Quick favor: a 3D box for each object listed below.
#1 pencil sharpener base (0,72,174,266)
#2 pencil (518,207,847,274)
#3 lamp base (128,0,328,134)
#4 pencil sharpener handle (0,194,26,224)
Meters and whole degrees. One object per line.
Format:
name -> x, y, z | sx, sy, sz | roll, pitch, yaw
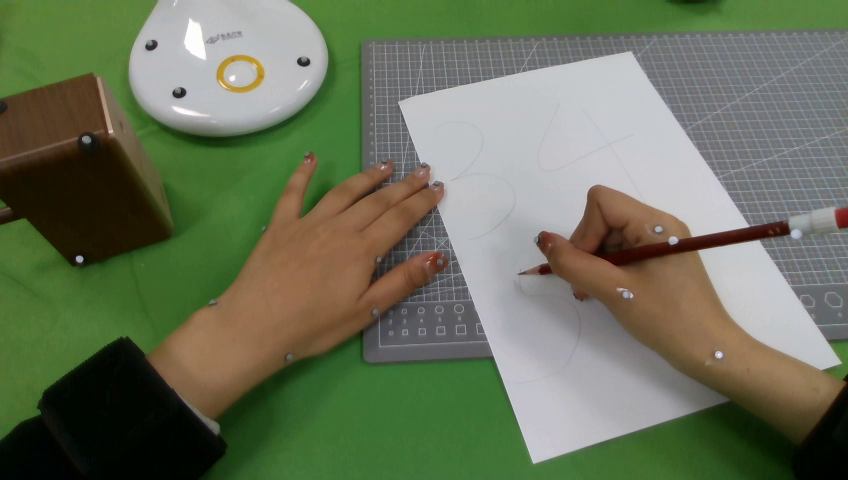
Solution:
pencil sharpener base -> -0.218, -0.041, 0.386 | 0.077, 0.108, 0.061 | -21, 61, -13
pencil -> 0.130, 0.005, 0.338 | 0.193, 0.012, 0.012 | -14, 44, 45
lamp base -> -0.167, -0.199, 0.442 | 0.160, 0.182, 0.177 | -30, 61, -18
pencil sharpener handle -> -0.265, -0.030, 0.364 | 0.031, 0.068, 0.035 | -21, 64, -13
